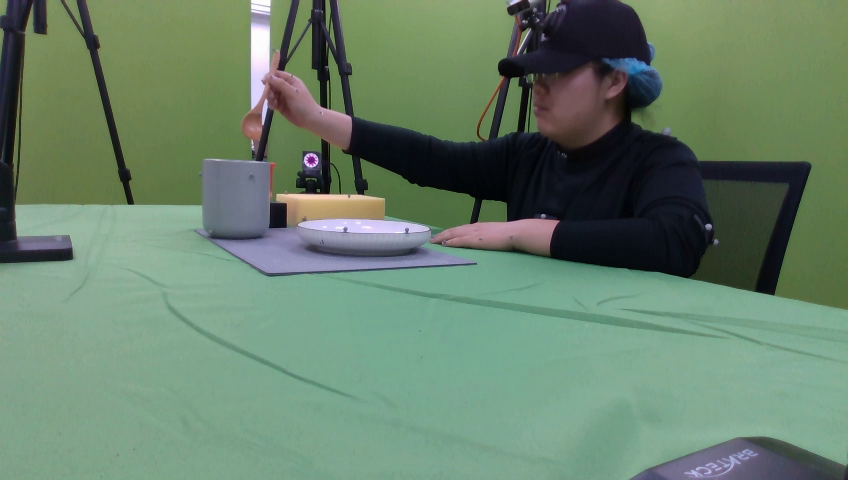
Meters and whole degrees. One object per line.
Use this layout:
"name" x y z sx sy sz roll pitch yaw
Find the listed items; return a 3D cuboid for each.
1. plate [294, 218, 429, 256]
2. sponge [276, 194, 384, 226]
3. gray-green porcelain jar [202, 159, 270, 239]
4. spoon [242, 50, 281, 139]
"plate" -0.096 -0.005 0.936 0.208 0.039 0.207 3 7 0
"sponge" -0.203 -0.067 1.312 0.208 0.061 0.117 -3 9 -35
"gray-green porcelain jar" -0.310 -0.068 0.999 0.106 0.126 0.106 3 8 0
"spoon" -0.298 -0.276 1.136 0.042 0.193 0.021 28 -20 -36
